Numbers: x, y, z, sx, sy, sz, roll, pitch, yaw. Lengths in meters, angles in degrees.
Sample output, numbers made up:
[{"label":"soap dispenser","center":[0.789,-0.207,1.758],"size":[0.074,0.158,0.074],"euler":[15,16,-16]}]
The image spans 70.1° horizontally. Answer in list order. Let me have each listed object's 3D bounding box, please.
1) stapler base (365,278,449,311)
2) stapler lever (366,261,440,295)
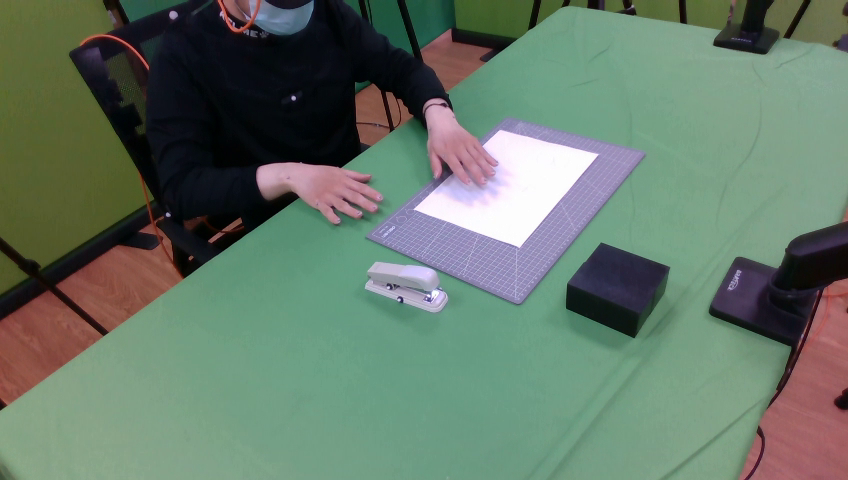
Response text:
[{"label":"stapler base","center":[-0.027,0.069,0.893],"size":[0.129,0.024,0.041],"euler":[15,42,26]},{"label":"stapler lever","center":[-0.031,0.049,0.878],"size":[0.117,0.040,0.027],"euler":[15,42,26]}]
